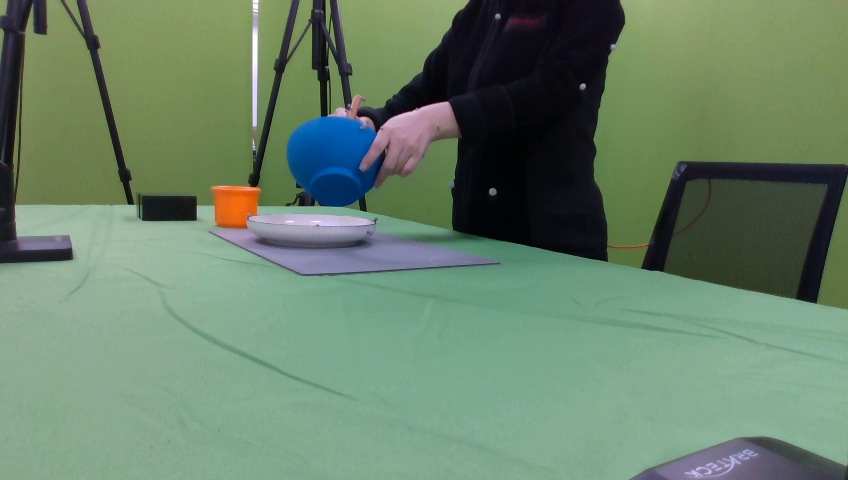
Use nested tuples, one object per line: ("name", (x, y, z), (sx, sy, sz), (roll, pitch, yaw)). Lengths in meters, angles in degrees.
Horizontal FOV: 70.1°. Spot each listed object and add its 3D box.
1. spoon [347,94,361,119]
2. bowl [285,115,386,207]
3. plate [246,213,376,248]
("spoon", (-0.131, -0.159, 0.974), (0.041, 0.193, 0.021), (12, -30, 0))
("bowl", (-0.131, -0.102, 0.894), (0.151, 0.151, 0.076), (-3, 53, -2))
("plate", (-0.185, -0.017, 0.994), (0.209, 0.038, 0.209), (3, 8, 0))
